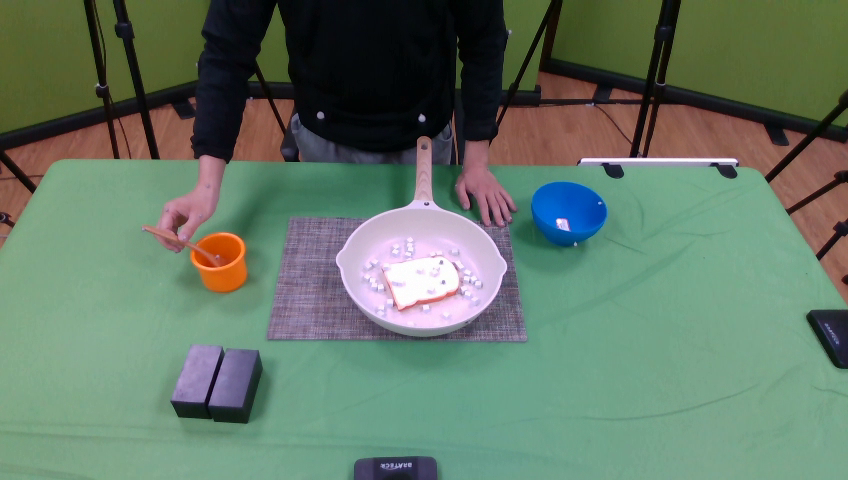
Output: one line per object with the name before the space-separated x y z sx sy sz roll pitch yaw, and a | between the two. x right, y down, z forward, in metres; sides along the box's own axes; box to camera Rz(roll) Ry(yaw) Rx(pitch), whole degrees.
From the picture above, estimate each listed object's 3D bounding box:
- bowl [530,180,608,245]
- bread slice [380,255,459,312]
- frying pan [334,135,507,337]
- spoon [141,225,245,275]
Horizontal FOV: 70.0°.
bowl | 0.284 -0.044 1.222 0.151 0.077 0.150 2 46 -2
bread slice | -0.005 0.075 1.119 0.134 0.018 0.106 -16 49 -16
frying pan | -0.004 -0.026 1.160 0.307 0.103 0.485 4 55 -2
spoon | -0.402 0.016 1.063 0.021 0.195 0.041 -41 39 17
